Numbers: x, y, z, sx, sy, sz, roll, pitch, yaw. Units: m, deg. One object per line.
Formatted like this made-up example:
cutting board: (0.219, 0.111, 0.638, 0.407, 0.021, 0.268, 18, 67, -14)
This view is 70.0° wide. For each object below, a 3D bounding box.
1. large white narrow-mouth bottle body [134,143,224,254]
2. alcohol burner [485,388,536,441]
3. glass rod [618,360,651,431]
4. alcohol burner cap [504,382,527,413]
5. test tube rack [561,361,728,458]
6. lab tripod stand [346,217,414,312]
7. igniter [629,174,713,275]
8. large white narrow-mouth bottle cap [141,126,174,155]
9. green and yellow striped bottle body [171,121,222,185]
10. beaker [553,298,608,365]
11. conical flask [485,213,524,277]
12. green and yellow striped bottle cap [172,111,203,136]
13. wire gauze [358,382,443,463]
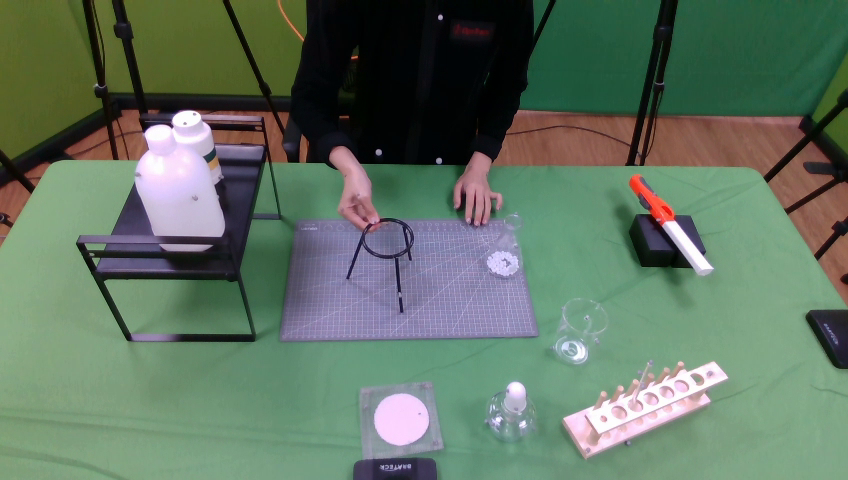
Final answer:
large white narrow-mouth bottle body: (-0.358, -0.075, 0.875, 0.102, 0.195, 0.101, 1, 48, -1)
alcohol burner: (0.131, 0.249, 0.904, 0.078, 0.120, 0.077, 1, 48, -1)
glass rod: (0.298, 0.227, 0.865, 0.008, 0.201, 0.008, -1, 48, 2)
alcohol burner cap: (0.133, 0.225, 0.877, 0.034, 0.048, 0.033, -4, 47, 5)
test tube rack: (0.341, 0.248, 0.940, 0.243, 0.085, 0.066, -15, 49, -18)
lab tripod stand: (-0.069, 0.036, 1.071, 0.148, 0.132, 0.147, 1, 50, -1)
igniter: (0.481, -0.040, 1.202, 0.057, 0.025, 0.274, -2, 46, -21)
large white narrow-mouth bottle cap: (-0.356, -0.133, 0.811, 0.038, 0.024, 0.037, 2, 48, -2)
green and yellow striped bottle body: (-0.375, -0.149, 0.995, 0.063, 0.120, 0.063, 2, 46, -2)
beaker: (0.260, 0.154, 1.015, 0.073, 0.101, 0.084, 37, 54, 27)
conical flask: (0.157, 0.007, 1.129, 0.075, 0.122, 0.075, 2, 46, -2)
green and yellow striped bottle cap: (-0.374, -0.185, 0.958, 0.045, 0.020, 0.045, 4, 46, -4)
wire gauze: (-0.039, 0.276, 0.937, 0.121, 0.011, 0.124, -4, 47, -7)
